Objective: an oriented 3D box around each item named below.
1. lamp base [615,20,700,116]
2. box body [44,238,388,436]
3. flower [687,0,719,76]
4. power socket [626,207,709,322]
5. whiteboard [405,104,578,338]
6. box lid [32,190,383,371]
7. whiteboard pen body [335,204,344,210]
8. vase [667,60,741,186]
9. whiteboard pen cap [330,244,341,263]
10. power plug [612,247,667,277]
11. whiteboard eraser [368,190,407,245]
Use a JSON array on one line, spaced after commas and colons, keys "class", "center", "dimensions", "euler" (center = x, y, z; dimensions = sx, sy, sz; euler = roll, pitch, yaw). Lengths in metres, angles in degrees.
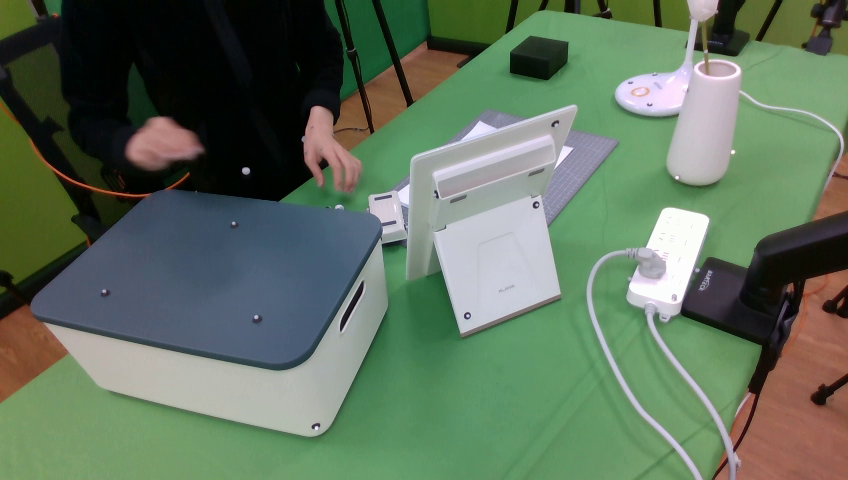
[{"class": "lamp base", "center": [0.484, -0.364, 1.211], "dimensions": [0.180, 0.181, 0.159], "euler": [-15, 41, -14]}, {"class": "box body", "center": [-0.251, 0.088, 0.799], "dimensions": [0.362, 0.161, 0.254], "euler": [7, 42, 16]}, {"class": "flower", "center": [0.436, -0.242, 0.934], "dimensions": [0.038, 0.364, 0.043], "euler": [-24, 49, 9]}, {"class": "power socket", "center": [0.360, 0.026, 0.886], "dimensions": [0.072, 0.033, 0.227], "euler": [17, 46, 27]}, {"class": "whiteboard", "center": [0.102, 0.003, 0.787], "dimensions": [0.218, 0.306, 0.143], "euler": [-19, 62, -14]}, {"class": "box lid", "center": [-0.257, 0.032, 0.750], "dimensions": [0.370, 0.015, 0.263], "euler": [7, 41, 16]}, {"class": "whiteboard pen body", "center": [-0.146, -0.016, 1.020], "dimensions": [0.017, 0.017, 0.140], "euler": [-6, 40, 1]}, {"class": "vase", "center": [0.463, -0.189, 0.995], "dimensions": [0.098, 0.201, 0.097], "euler": [-4, 40, 3]}, {"class": "whiteboard pen cap", "center": [-0.142, 0.022, 0.975], "dimensions": [0.018, 0.018, 0.033], "euler": [-7, 38, 0]}, {"class": "power plug", "center": [0.306, 0.031, 0.852], "dimensions": [0.072, 0.053, 0.035], "euler": [21, 48, 37]}, {"class": "whiteboard eraser", "center": [-0.061, -0.035, 1.006], "dimensions": [0.056, 0.042, 0.112], "euler": [-9, 40, -3]}]
